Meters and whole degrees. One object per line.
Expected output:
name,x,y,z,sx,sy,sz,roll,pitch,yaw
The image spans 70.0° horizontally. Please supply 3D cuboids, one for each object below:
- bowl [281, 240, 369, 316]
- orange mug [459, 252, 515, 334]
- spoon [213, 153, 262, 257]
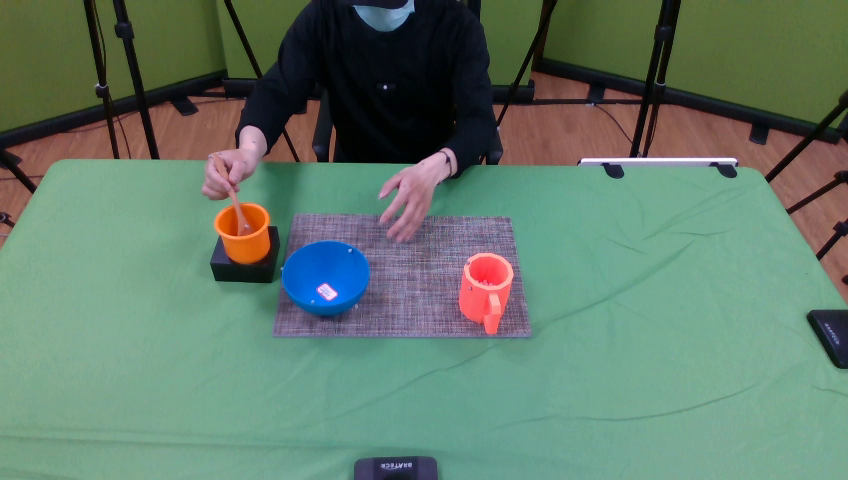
bowl,-0.170,0.080,1.062,0.151,0.077,0.150,2,46,-2
orange mug,0.111,0.096,1.052,0.083,0.101,0.125,-4,42,-7
spoon,-0.331,-0.061,1.068,0.041,0.194,0.021,-23,11,-33
